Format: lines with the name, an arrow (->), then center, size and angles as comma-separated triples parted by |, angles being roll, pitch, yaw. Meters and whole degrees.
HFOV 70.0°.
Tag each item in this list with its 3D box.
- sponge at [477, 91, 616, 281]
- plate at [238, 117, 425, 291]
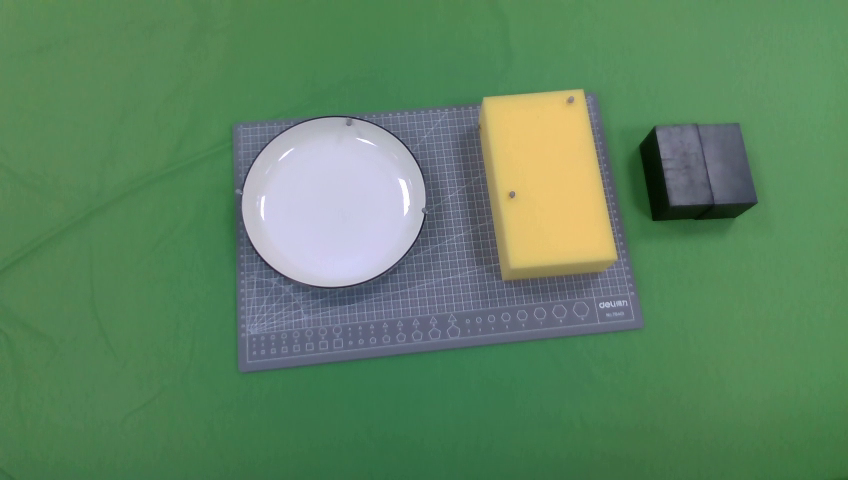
sponge -> 0.135, -0.063, 0.695 | 0.118, 0.061, 0.205 | -7, 74, -4
plate -> -0.102, -0.040, 0.693 | 0.209, 0.038, 0.208 | 1, 73, -2
